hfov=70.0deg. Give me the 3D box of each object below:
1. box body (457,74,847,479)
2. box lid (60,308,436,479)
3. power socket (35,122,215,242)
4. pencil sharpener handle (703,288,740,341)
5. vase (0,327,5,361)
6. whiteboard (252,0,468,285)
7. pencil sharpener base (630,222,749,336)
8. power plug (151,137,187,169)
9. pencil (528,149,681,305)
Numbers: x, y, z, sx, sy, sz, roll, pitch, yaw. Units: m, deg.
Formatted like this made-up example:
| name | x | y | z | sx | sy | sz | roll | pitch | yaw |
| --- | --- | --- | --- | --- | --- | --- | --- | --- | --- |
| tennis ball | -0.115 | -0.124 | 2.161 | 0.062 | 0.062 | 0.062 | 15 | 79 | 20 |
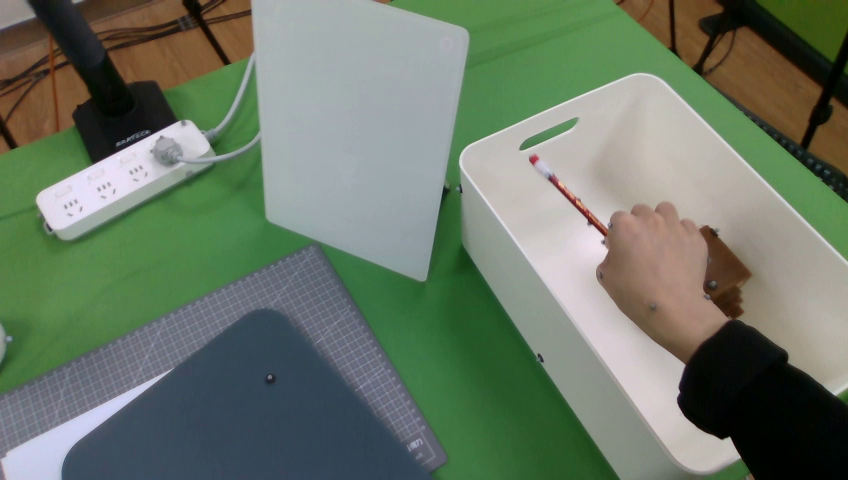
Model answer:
| name | x | y | z | sx | sy | sz | roll | pitch | yaw |
| --- | --- | --- | --- | --- | --- | --- | --- | --- | --- |
| box body | 0.221 | 0.035 | 0.624 | 0.254 | 0.161 | 0.360 | -25 | 62 | -15 |
| box lid | -0.146 | 0.255 | 0.576 | 0.263 | 0.015 | 0.368 | -40 | 68 | -22 |
| power socket | -0.371 | -0.076 | 0.761 | 0.227 | 0.033 | 0.071 | -33 | 65 | -19 |
| pencil sharpener handle | 0.305 | 0.077 | 0.611 | 0.036 | 0.068 | 0.030 | -27 | 63 | -13 |
| vase | -0.496 | 0.079 | 0.570 | 0.098 | 0.201 | 0.097 | 0 | 59 | 1 |
| whiteboard | -0.054 | -0.136 | 0.676 | 0.216 | 0.308 | 0.143 | 21 | 42 | 13 |
| pencil sharpener base | 0.279 | 0.046 | 0.643 | 0.061 | 0.108 | 0.076 | -25 | 63 | -16 |
| power plug | -0.312 | -0.096 | 0.746 | 0.035 | 0.053 | 0.072 | -24 | 63 | -14 |
| pencil | 0.158 | -0.015 | 0.542 | 0.012 | 0.012 | 0.192 | -32 | 68 | -18 |
